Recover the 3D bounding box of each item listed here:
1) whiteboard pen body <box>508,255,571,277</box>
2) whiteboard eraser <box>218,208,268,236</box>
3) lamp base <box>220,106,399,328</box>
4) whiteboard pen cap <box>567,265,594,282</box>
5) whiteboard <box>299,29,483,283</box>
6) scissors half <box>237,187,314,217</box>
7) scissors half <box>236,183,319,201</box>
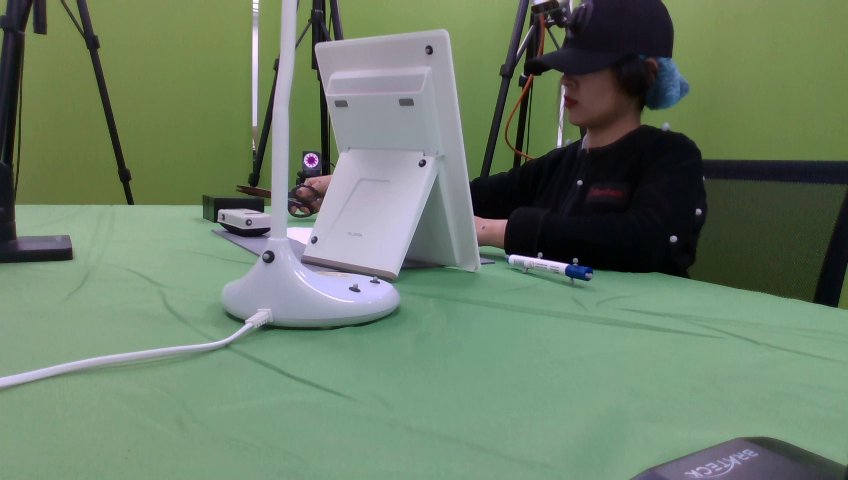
[{"bbox_3d":[0.155,0.034,0.772,0.017,0.017,0.140,-2,7,-31],"label":"whiteboard pen body"},{"bbox_3d":[-0.309,-0.031,1.044,0.056,0.042,0.112,-2,9,-40],"label":"whiteboard eraser"},{"bbox_3d":[-0.101,-0.023,0.531,0.160,0.180,0.179,4,10,10],"label":"lamp base"},{"bbox_3d":[0.185,0.040,0.722,0.018,0.018,0.033,-3,6,-33],"label":"whiteboard pen cap"},{"bbox_3d":[-0.074,-0.082,0.742,0.216,0.305,0.144,9,29,38],"label":"whiteboard"},{"bbox_3d":[-0.322,-0.086,1.317,0.176,0.040,0.013,20,20,-31],"label":"scissors half"},{"bbox_3d":[-0.315,-0.103,1.308,0.176,0.040,0.012,-2,35,-20],"label":"scissors half"}]
